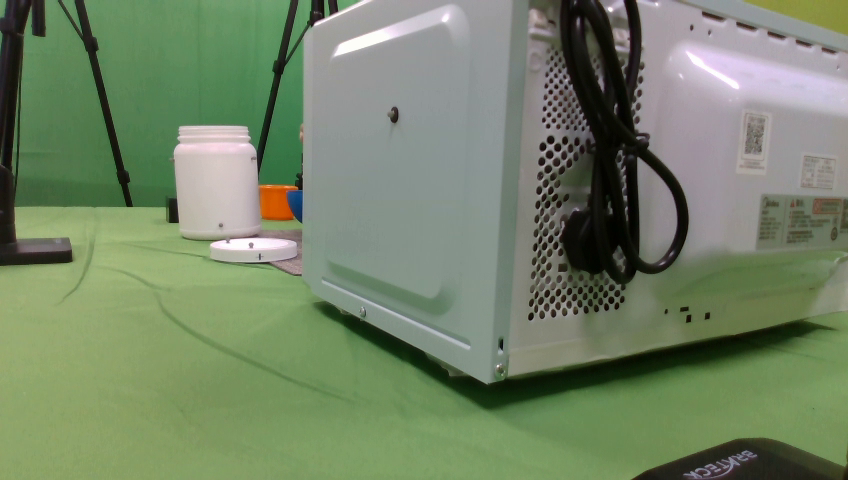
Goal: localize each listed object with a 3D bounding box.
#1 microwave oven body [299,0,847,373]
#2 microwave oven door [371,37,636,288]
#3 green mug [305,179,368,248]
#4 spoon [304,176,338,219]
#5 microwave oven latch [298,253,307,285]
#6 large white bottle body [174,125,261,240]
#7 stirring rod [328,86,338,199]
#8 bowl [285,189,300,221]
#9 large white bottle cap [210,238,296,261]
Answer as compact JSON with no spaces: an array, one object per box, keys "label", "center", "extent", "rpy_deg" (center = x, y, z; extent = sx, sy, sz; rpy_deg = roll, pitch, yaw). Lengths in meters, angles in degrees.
[{"label":"microwave oven body","center":[0.152,-0.055,0.542],"extent":[0.444,0.260,0.324],"rpy_deg":[-2,7,-33]},{"label":"microwave oven door","center":[0.109,-0.080,0.686],"extent":[0.358,0.243,0.039],"rpy_deg":[-2,9,-33]},{"label":"green mug","center":[-0.133,-0.045,0.977],"extent":[0.092,0.105,0.126],"rpy_deg":[7,9,31]},{"label":"spoon","center":[-0.201,-0.084,1.146],"extent":[0.042,0.021,0.193],"rpy_deg":[3,30,-25]},{"label":"microwave oven latch","center":[-0.081,0.027,0.582],"extent":[0.079,0.029,0.030],"rpy_deg":[-2,7,-33]},{"label":"large white bottle body","center":[-0.349,-0.100,1.025],"extent":[0.131,0.184,0.130],"rpy_deg":[-1,9,0]},{"label":"stirring rod","center":[-0.143,-0.152,0.948],"extent":[0.006,0.176,0.014],"rpy_deg":[-3,6,-3]},{"label":"bowl","center":[-0.180,-0.051,1.113],"extent":[0.151,0.077,0.151],"rpy_deg":[3,8,0]},{"label":"large white bottle cap","center":[-0.236,0.012,0.839],"extent":[0.115,0.018,0.115],"rpy_deg":[1,8,0]}]
